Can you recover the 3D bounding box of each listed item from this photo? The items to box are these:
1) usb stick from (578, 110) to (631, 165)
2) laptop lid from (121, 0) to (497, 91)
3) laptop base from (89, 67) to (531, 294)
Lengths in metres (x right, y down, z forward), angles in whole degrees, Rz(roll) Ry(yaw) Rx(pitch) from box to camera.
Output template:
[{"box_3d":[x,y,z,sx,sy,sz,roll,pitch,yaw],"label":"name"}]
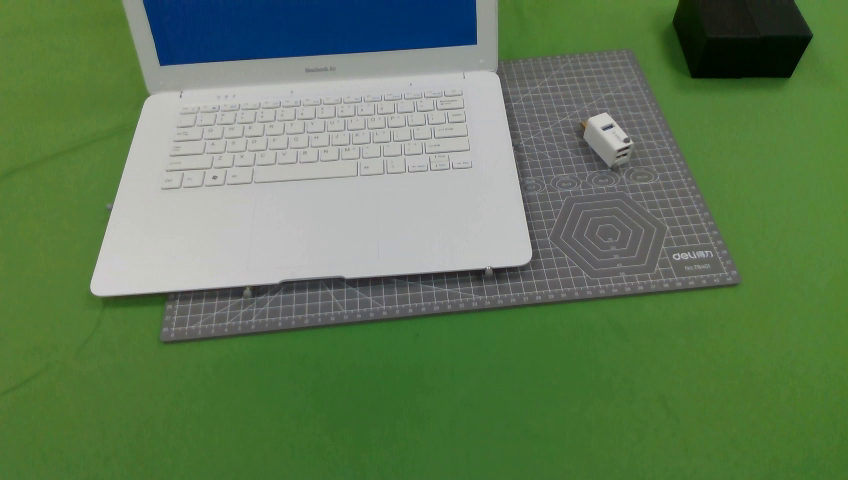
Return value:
[{"box_3d":[0.162,-0.098,0.554,0.021,0.027,0.058,-22,54,-12],"label":"usb stick"},{"box_3d":[-0.110,-0.259,0.556,0.357,0.243,0.013,-5,29,0],"label":"laptop lid"},{"box_3d":[-0.096,-0.062,0.545,0.354,0.023,0.233,-4,57,-1],"label":"laptop base"}]
